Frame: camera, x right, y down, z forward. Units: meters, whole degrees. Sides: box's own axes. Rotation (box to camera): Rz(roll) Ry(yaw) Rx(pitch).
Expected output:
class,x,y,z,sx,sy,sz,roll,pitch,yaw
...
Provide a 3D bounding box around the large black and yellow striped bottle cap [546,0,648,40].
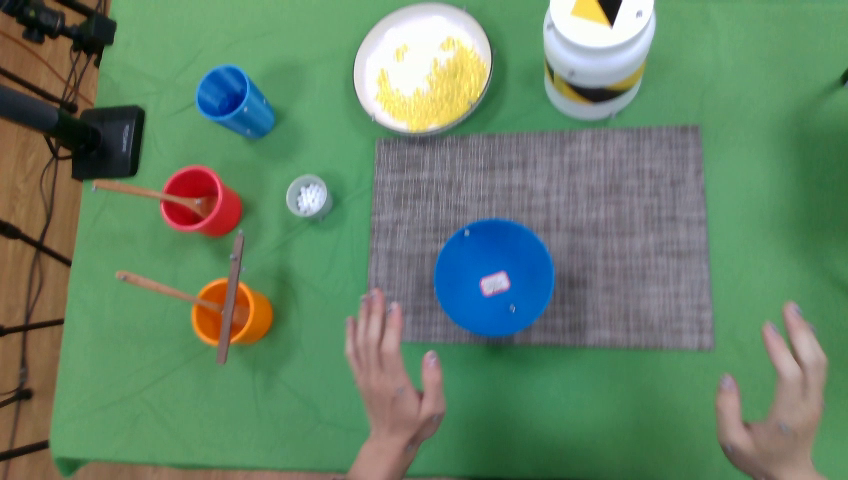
class,x,y,z,sx,sy,sz,roll,pitch,yaw
large black and yellow striped bottle cap,0.194,-0.281,0.680,0.115,0.019,0.114,-3,78,13

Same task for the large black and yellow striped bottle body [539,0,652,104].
class,x,y,z,sx,sy,sz,roll,pitch,yaw
large black and yellow striped bottle body,0.211,-0.265,0.760,0.130,0.185,0.130,-2,78,12

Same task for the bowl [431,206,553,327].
class,x,y,z,sx,sy,sz,roll,pitch,yaw
bowl,0.090,0.039,0.777,0.151,0.077,0.150,-2,79,12

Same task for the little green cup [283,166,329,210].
class,x,y,z,sx,sy,sz,roll,pitch,yaw
little green cup,-0.168,-0.072,0.878,0.061,0.039,0.061,-2,79,12

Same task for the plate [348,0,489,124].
class,x,y,z,sx,sy,sz,roll,pitch,yaw
plate,-0.008,-0.264,0.883,0.209,0.038,0.208,-2,79,11

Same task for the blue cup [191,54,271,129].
class,x,y,z,sx,sy,sz,roll,pitch,yaw
blue cup,-0.277,-0.210,0.895,0.092,0.101,0.092,-3,79,13

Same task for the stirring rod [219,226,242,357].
class,x,y,z,sx,sy,sz,roll,pitch,yaw
stirring rod,-0.258,0.067,0.809,0.014,0.006,0.175,0,79,14

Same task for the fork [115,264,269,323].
class,x,y,z,sx,sy,sz,roll,pitch,yaw
fork,-0.310,0.072,0.822,0.209,0.018,0.028,24,86,-28

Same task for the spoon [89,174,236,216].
class,x,y,z,sx,sy,sz,roll,pitch,yaw
spoon,-0.369,-0.070,0.866,0.195,0.021,0.041,13,81,-30
